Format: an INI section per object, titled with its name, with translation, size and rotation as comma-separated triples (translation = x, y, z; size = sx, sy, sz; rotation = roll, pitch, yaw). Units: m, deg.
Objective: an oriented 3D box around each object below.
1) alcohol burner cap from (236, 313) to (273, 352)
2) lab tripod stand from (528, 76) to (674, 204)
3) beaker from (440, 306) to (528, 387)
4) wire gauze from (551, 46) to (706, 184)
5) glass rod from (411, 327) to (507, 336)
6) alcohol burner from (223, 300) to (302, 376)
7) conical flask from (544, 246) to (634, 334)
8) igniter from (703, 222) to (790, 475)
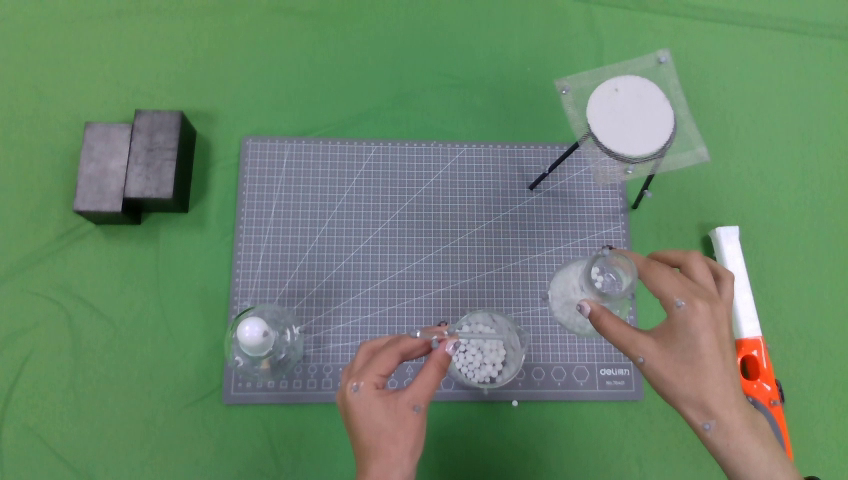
[alcohol burner cap]
translation = -0.159, 0.084, 0.562
size = 0.034, 0.048, 0.033
rotation = 4, 68, -9
[lab tripod stand]
translation = 0.195, -0.103, 0.659
size = 0.148, 0.132, 0.147
rotation = 1, 77, -4
[beaker]
translation = 0.057, 0.109, 0.615
size = 0.084, 0.100, 0.073
rotation = -18, 78, -8
[wire gauze]
translation = 0.201, -0.123, 0.595
size = 0.125, 0.011, 0.121
rotation = -15, 79, -7
[glass rod]
translation = 0.037, 0.079, 0.519
size = 0.008, 0.201, 0.008
rotation = -4, 80, 26
[alcohol burner]
translation = -0.161, 0.094, 0.597
size = 0.078, 0.119, 0.077
rotation = 1, 75, -5
[conical flask]
translation = 0.143, 0.037, 0.503
size = 0.075, 0.122, 0.075
rotation = -1, 77, 6
[igniter]
translation = 0.357, 0.114, 0.672
size = 0.057, 0.025, 0.275
rotation = -4, 77, -15
